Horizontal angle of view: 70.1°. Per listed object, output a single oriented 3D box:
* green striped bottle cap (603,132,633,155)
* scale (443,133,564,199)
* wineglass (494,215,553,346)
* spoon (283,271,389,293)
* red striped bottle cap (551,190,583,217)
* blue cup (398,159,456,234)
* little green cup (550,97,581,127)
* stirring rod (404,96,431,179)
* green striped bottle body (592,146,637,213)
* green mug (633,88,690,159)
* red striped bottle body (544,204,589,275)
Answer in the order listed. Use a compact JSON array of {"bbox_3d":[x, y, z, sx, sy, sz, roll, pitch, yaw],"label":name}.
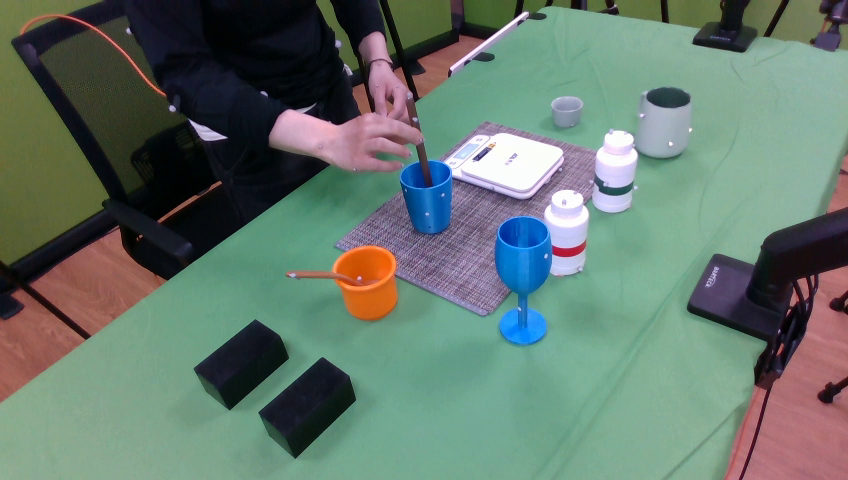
[{"bbox_3d":[0.301,-0.149,0.938,0.044,0.020,0.044,-3,39,3],"label":"green striped bottle cap"},{"bbox_3d":[0.137,-0.142,1.101,0.199,0.032,0.149,22,48,30],"label":"scale"},{"bbox_3d":[0.127,0.055,0.770,0.074,0.173,0.073,-4,40,4],"label":"wineglass"},{"bbox_3d":[-0.116,0.054,0.824,0.041,0.195,0.021,22,92,37],"label":"spoon"},{"bbox_3d":[0.200,-0.052,0.843,0.044,0.018,0.044,-3,41,3],"label":"red striped bottle cap"},{"bbox_3d":[0.006,-0.065,0.977,0.092,0.100,0.092,-4,39,4],"label":"blue cup"},{"bbox_3d":[0.284,-0.255,1.213,0.061,0.039,0.061,-5,41,5],"label":"little green cup"},{"bbox_3d":[-0.005,-0.136,0.904,0.005,0.177,0.014,24,54,37],"label":"stirring rod"},{"bbox_3d":[0.307,-0.108,0.976,0.063,0.120,0.063,-4,41,4],"label":"green striped bottle body"},{"bbox_3d":[0.423,-0.217,1.099,0.093,0.105,0.124,-16,41,-10],"label":"green mug"},{"bbox_3d":[0.206,-0.011,0.877,0.063,0.120,0.062,-5,41,4],"label":"red striped bottle body"}]
